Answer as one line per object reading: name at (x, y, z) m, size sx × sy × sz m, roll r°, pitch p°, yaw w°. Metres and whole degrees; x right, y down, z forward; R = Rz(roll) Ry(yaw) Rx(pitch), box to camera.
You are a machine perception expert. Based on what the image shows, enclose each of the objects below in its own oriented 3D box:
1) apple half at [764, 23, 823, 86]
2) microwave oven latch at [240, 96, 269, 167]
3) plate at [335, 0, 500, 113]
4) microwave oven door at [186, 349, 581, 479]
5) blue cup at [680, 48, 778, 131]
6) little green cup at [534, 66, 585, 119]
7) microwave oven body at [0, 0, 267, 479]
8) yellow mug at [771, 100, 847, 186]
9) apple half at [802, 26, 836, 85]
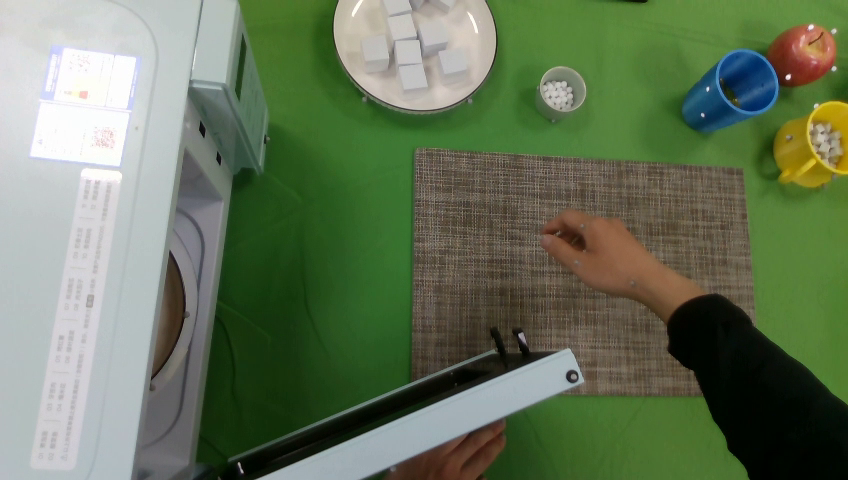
apple half at (0.499, -0.254, 0.831) m, size 0.053 × 0.075 × 0.080 m, roll 8°, pitch 82°, yaw -4°
microwave oven latch at (-0.197, -0.127, 0.700) m, size 0.030 × 0.029 × 0.079 m, roll 7°, pitch 80°, yaw -8°
plate at (-0.008, -0.256, 0.771) m, size 0.208 × 0.039 × 0.207 m, roll 2°, pitch 80°, yaw -8°
microwave oven door at (-0.056, 0.179, 0.564) m, size 0.356 × 0.244 × 0.039 m, roll -20°, pitch 82°, yaw -12°
blue cup at (0.386, -0.186, 0.787) m, size 0.093 × 0.100 × 0.092 m, roll 1°, pitch 81°, yaw -9°
little green cup at (0.174, -0.189, 0.787) m, size 0.062 × 0.039 × 0.061 m, roll 2°, pitch 79°, yaw -8°
microwave oven body at (-0.342, 0.015, 0.554) m, size 0.327 × 0.260 × 0.440 m, roll 5°, pitch 80°, yaw -8°
yellow mug at (0.525, -0.120, 0.814) m, size 0.131 × 0.064 × 0.100 m, roll -40°, pitch 88°, yaw -12°
apple half at (0.538, -0.249, 0.834) m, size 0.033 × 0.081 × 0.081 m, roll 8°, pitch 78°, yaw -4°
